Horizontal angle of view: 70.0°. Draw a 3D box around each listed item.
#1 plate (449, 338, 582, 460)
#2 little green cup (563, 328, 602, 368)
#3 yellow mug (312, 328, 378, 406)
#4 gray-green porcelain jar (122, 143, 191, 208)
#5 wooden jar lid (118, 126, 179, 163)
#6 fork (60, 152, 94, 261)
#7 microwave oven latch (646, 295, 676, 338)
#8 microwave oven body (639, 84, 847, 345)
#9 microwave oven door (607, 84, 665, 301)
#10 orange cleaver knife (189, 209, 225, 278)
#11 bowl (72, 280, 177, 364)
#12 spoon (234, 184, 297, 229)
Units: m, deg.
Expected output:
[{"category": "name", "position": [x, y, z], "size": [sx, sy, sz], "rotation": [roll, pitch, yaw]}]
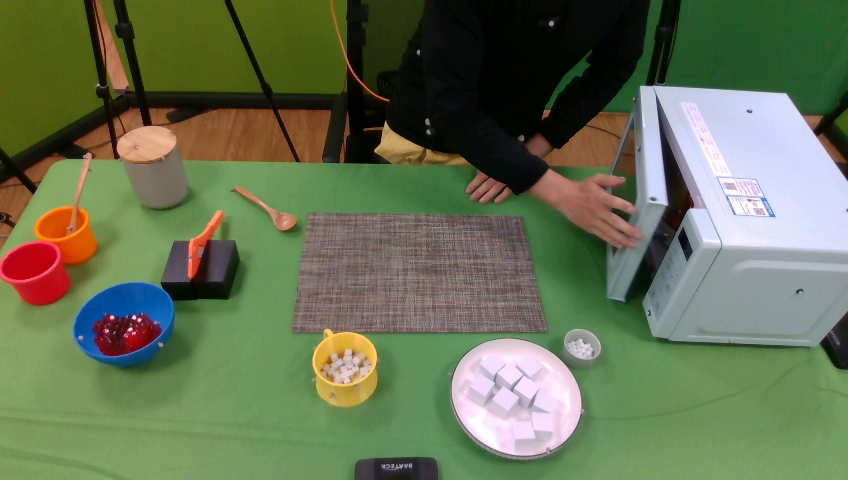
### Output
[{"category": "plate", "position": [0.141, 0.251, 0.956], "size": [0.208, 0.039, 0.206], "rotation": [2, 46, -2]}, {"category": "little green cup", "position": [0.266, 0.185, 1.025], "size": [0.061, 0.039, 0.061], "rotation": [2, 44, -2]}, {"category": "yellow mug", "position": [-0.132, 0.193, 0.971], "size": [0.100, 0.064, 0.130], "rotation": [-22, 51, -22]}, {"category": "gray-green porcelain jar", "position": [-0.531, -0.137, 1.214], "size": [0.106, 0.127, 0.105], "rotation": [2, 47, -2]}, {"category": "wooden jar lid", "position": [-0.528, -0.181, 1.167], "size": [0.108, 0.021, 0.107], "rotation": [3, 47, -4]}, {"category": "fork", "position": [-0.638, -0.063, 1.120], "size": [0.028, 0.018, 0.207], "rotation": [12, 90, 5]}, {"category": "microwave oven latch", "position": [0.412, 0.133, 1.060], "size": [0.030, 0.029, 0.078], "rotation": [4, 46, 1]}, {"category": "microwave oven body", "position": [0.568, -0.054, 1.116], "size": [0.326, 0.261, 0.439], "rotation": [2, 46, -1]}, {"category": "microwave oven door", "position": [0.393, -0.099, 1.139], "size": [0.039, 0.245, 0.354], "rotation": [10, 47, 6]}, {"category": "orange cleaver knife", "position": [-0.401, 0.002, 1.122], "size": [0.012, 0.077, 0.210], "rotation": [4, 23, -4]}, {"category": "bowl", "position": [-0.473, 0.146, 0.982], "size": [0.151, 0.077, 0.150], "rotation": [2, 46, -2]}, {"category": "spoon", "position": [-0.328, -0.074, 1.240], "size": [0.193, 0.022, 0.041], "rotation": [34, 71, 25]}]
